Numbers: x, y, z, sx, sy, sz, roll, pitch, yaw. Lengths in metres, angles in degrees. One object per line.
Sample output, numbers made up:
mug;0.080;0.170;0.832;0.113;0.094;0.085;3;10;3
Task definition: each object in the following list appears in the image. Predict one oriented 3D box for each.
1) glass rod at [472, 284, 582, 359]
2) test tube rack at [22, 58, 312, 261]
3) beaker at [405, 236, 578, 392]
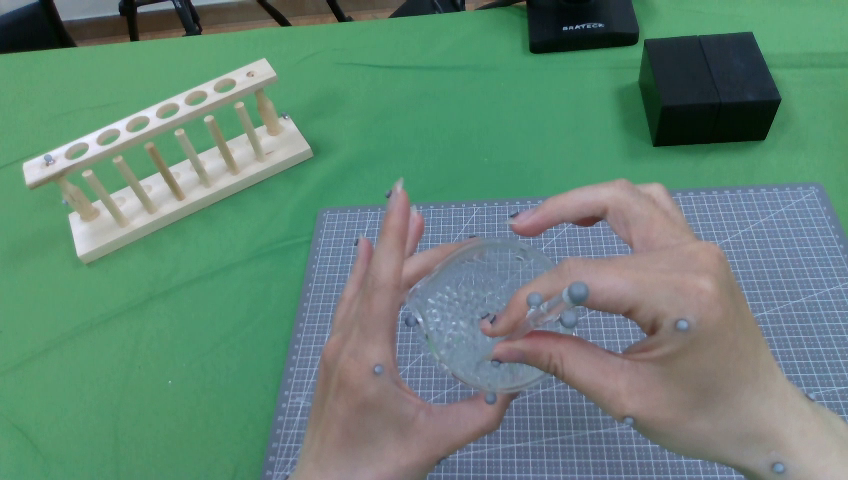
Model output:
glass rod;0.040;0.044;0.281;0.008;0.200;0.008;1;74;-4
test tube rack;-0.242;-0.081;0.593;0.242;0.086;0.066;-28;54;-12
beaker;0.030;0.043;0.334;0.084;0.100;0.073;10;79;-1
